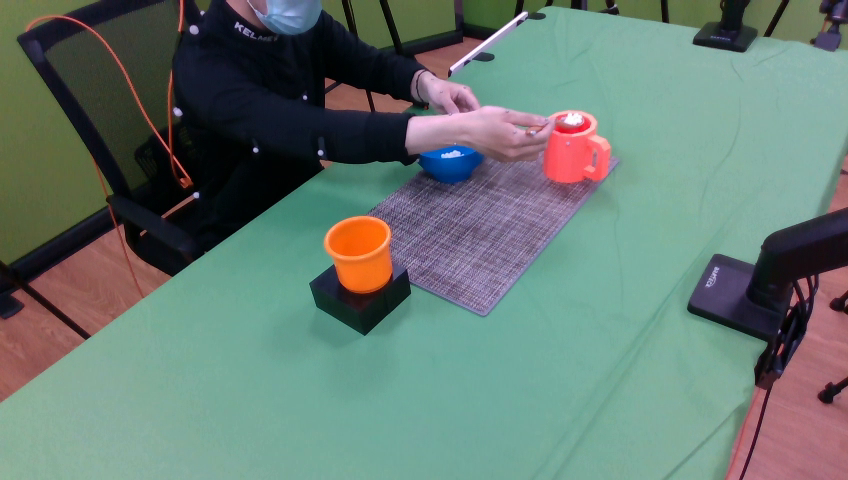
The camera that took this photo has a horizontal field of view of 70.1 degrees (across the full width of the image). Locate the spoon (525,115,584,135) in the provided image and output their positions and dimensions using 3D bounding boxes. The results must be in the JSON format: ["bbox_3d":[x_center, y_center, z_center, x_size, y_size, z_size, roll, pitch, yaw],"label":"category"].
[{"bbox_3d":[0.209,-0.187,0.974,0.041,0.021,0.195,26,26,29],"label":"spoon"}]

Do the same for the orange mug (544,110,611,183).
[{"bbox_3d":[0.266,-0.157,1.049,0.084,0.101,0.125,-33,42,-26],"label":"orange mug"}]

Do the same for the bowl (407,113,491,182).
[{"bbox_3d":[0.048,-0.158,1.097,0.151,0.077,0.150,-4,41,4],"label":"bowl"}]
